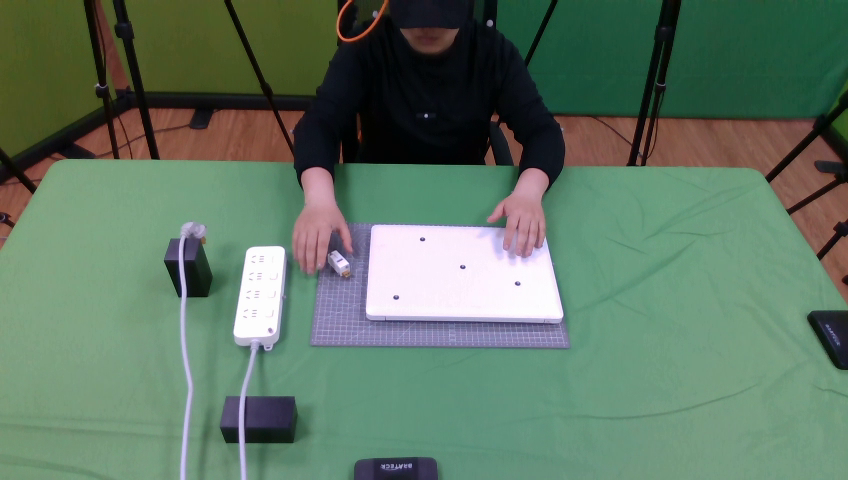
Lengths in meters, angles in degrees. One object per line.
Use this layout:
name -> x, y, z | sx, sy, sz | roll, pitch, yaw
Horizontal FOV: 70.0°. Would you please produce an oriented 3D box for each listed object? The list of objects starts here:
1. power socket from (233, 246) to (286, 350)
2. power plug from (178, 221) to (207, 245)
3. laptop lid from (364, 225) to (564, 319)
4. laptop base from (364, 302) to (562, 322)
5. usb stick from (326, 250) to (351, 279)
power socket -> -0.290, 0.094, 1.077 | 0.072, 0.033, 0.225 | -2, 46, -5
power plug -> -0.413, -0.003, 1.069 | 0.035, 0.053, 0.072 | -1, 41, 24
laptop lid -> 0.070, 0.053, 1.138 | 0.357, 0.013, 0.240 | 3, 44, -2
laptop base -> 0.070, 0.063, 1.145 | 0.354, 0.023, 0.234 | 1, 43, -3
usb stick -> -0.158, 0.047, 1.133 | 0.021, 0.027, 0.059 | -30, 59, -25
